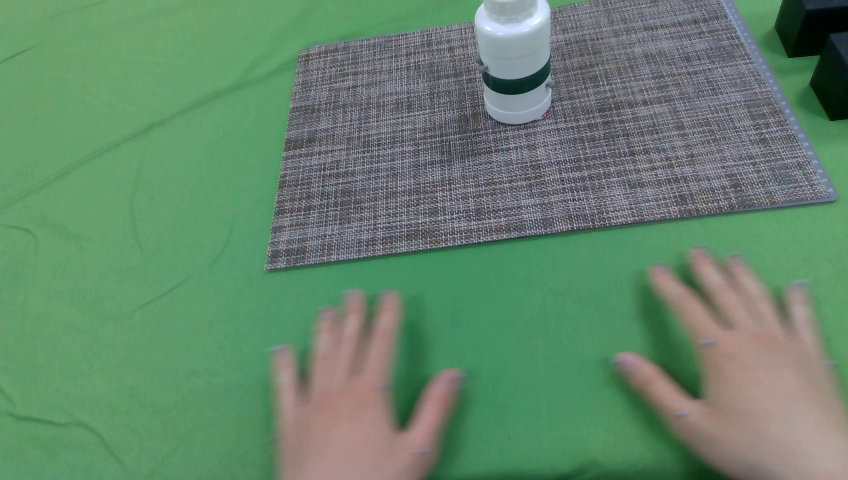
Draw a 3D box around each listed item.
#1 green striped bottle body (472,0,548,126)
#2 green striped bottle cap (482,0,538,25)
[{"bbox_3d":[0.077,-0.163,0.529,0.063,0.120,0.062,-6,53,8],"label":"green striped bottle body"},{"bbox_3d":[0.069,-0.194,0.488,0.044,0.020,0.044,-7,54,10],"label":"green striped bottle cap"}]
